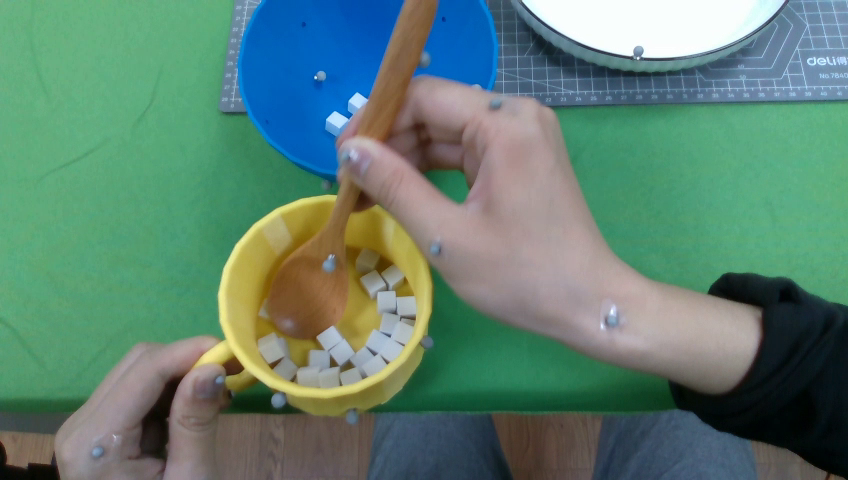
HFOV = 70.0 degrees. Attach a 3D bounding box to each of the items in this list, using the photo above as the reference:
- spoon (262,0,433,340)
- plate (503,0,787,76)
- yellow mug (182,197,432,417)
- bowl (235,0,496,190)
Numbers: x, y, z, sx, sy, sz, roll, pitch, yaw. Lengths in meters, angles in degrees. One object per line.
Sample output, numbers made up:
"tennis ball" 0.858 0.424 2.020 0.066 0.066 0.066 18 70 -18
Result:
"spoon" -0.036 -0.019 0.272 0.042 0.194 0.021 24 40 -7
"plate" 0.149 -0.200 0.427 0.209 0.038 0.207 -1 70 3
"yellow mug" -0.060 0.044 0.307 0.131 0.064 0.099 -32 73 -14
"bowl" -0.031 -0.092 0.381 0.151 0.077 0.150 -1 74 4
